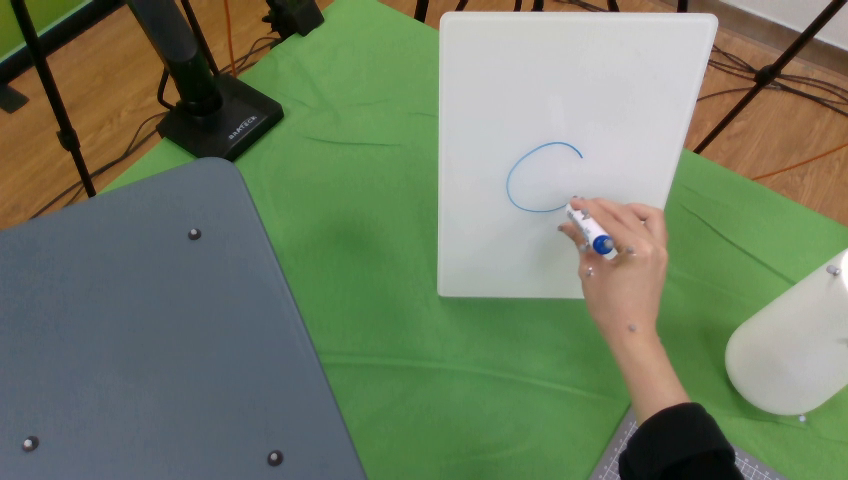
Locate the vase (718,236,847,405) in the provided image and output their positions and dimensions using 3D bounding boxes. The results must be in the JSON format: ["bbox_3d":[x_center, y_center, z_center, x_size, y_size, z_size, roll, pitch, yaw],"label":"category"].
[{"bbox_3d":[0.339,0.073,0.531,0.098,0.201,0.097,0,58,1],"label":"vase"}]

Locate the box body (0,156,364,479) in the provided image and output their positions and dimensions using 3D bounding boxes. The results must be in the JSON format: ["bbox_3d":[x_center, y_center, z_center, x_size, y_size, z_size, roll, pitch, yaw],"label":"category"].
[{"bbox_3d":[-0.217,0.140,0.513,0.254,0.162,0.360,-23,62,-13],"label":"box body"}]

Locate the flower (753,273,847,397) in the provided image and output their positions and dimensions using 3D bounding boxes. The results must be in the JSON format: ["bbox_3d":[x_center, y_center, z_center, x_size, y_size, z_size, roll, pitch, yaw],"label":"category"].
[{"bbox_3d":[0.340,0.017,0.467,0.044,0.364,0.038,25,45,18],"label":"flower"}]

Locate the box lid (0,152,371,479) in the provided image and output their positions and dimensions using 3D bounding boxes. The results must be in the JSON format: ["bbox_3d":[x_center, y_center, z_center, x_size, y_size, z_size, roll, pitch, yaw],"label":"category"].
[{"bbox_3d":[-0.218,0.100,0.450,0.263,0.015,0.368,-23,62,-14],"label":"box lid"}]

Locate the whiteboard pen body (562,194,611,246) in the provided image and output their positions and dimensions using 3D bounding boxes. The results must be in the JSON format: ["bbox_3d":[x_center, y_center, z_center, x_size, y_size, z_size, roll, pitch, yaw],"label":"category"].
[{"bbox_3d":[0.132,-0.022,0.509,0.017,0.017,0.140,1,17,1],"label":"whiteboard pen body"}]

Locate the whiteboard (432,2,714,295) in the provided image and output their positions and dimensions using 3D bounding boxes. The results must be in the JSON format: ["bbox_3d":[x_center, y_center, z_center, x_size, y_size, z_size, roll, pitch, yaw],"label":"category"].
[{"bbox_3d":[0.119,-0.104,0.611,0.217,0.308,0.142,1,40,2],"label":"whiteboard"}]
